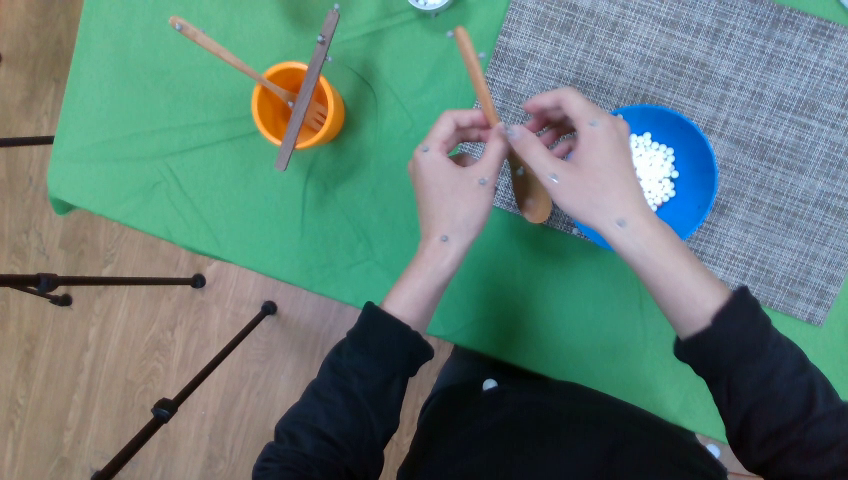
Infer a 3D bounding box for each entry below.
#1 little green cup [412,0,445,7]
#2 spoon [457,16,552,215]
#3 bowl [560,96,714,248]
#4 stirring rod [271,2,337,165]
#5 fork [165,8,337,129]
[{"bbox_3d":[0.004,-0.285,0.661,0.061,0.038,0.061,1,99,8],"label":"little green cup"},{"bbox_3d":[0.071,-0.106,0.542,0.041,0.021,0.195,2,131,46],"label":"spoon"},{"bbox_3d":[0.217,-0.071,0.643,0.151,0.077,0.151,1,99,8],"label":"bowl"},{"bbox_3d":[-0.127,-0.162,0.636,0.014,0.006,0.176,23,100,2],"label":"stirring rod"},{"bbox_3d":[-0.176,-0.178,0.643,0.028,0.018,0.209,-48,133,13],"label":"fork"}]
